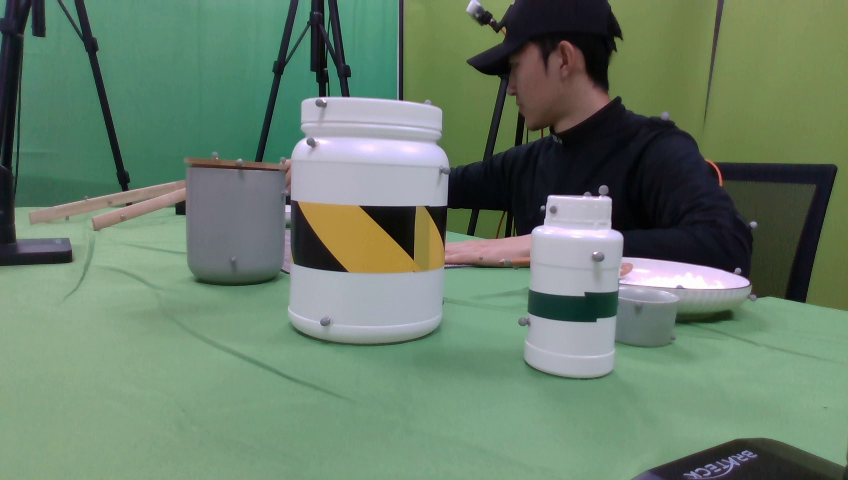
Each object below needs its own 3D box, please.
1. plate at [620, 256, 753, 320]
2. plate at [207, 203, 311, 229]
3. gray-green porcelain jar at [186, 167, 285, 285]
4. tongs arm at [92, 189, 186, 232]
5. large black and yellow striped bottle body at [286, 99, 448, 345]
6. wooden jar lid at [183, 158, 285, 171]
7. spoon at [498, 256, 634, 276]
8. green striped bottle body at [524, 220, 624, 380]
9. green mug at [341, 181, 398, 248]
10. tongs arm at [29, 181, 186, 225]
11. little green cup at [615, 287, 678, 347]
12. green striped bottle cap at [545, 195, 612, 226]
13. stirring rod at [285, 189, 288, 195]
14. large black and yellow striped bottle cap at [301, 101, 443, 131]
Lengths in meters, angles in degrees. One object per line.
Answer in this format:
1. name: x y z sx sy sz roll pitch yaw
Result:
1. plate: 0.234 0.049 0.651 0.209 0.038 0.209 2 7 0
2. plate: -0.342 -0.050 1.259 0.208 0.039 0.207 2 7 0
3. gray-green porcelain jar: -0.212 -0.017 0.682 0.106 0.126 0.106 2 7 0
4. tongs arm: -0.534 -0.076 1.221 0.028 0.028 0.388 -2 15 12
5. large black and yellow striped bottle body: -0.047 -0.018 0.501 0.131 0.184 0.130 2 7 0
6. wooden jar lid: -0.210 -0.078 0.674 0.108 0.020 0.108 5 6 0
7. spoon: 0.162 0.027 0.679 0.195 0.021 0.041 8 3 -30
8. green striped bottle body: 0.104 0.031 0.422 0.063 0.119 0.063 2 8 0
9. green mug: -0.089 -0.044 0.997 0.093 0.105 0.125 1 7 -8
10. tongs arm: -0.609 -0.083 1.245 0.050 0.026 0.386 5 16 23
11. little green cup: 0.180 0.064 0.506 0.061 0.038 0.061 1 9 0
12. green striped bottle cap: 0.106 -0.020 0.414 0.044 0.020 0.044 2 4 0
13. stirring rod: -0.346 -0.122 1.520 0.006 0.014 0.176 9 6 -2
14. large black and yellow striped bottle cap: -0.042 -0.100 0.491 0.115 0.019 0.115 1 8 0
